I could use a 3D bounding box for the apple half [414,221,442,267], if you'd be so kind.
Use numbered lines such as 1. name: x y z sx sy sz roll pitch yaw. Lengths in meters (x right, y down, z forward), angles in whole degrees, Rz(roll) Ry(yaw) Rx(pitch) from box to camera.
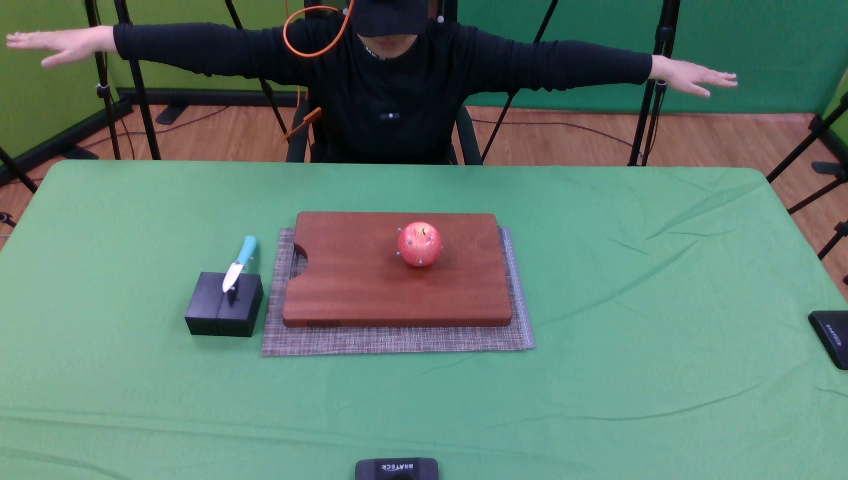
1. apple half: 0.006 0.009 1.115 0.053 0.075 0.080 0 42 -10

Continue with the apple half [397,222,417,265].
1. apple half: -0.033 0.010 1.109 0.033 0.081 0.081 0 46 -10

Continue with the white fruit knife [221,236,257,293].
1. white fruit knife: -0.333 0.043 1.094 0.027 0.016 0.206 2 27 -3
